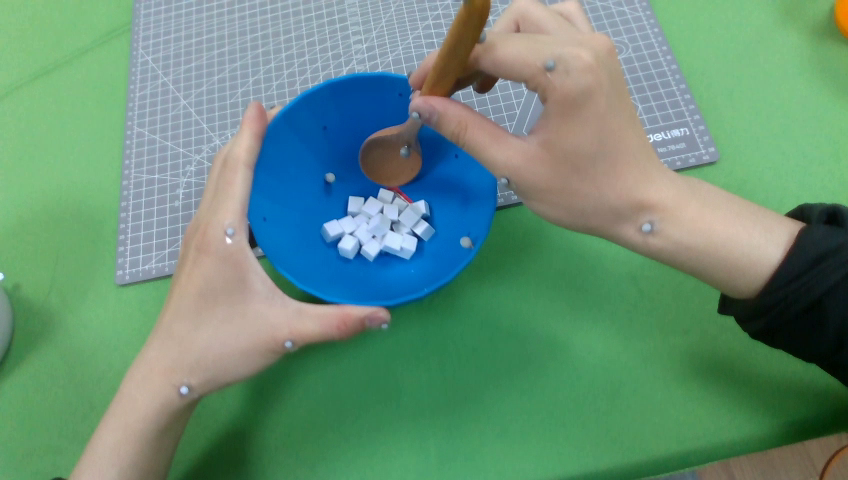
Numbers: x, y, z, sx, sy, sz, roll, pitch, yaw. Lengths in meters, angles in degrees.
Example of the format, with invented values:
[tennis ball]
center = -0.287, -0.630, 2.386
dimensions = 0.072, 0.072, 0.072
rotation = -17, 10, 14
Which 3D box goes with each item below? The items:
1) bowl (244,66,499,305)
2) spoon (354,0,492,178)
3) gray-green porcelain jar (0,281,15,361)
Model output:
[bowl]
center = -0.029, -0.025, 0.392
dimensions = 0.151, 0.077, 0.150
rotation = 0, 74, 1
[spoon]
center = -0.003, -0.070, 0.320
dimensions = 0.042, 0.193, 0.021
rotation = 20, 75, -12
[gray-green porcelain jar]
center = -0.346, 0.048, 0.386
dimensions = 0.106, 0.127, 0.105
rotation = -3, 65, 6
